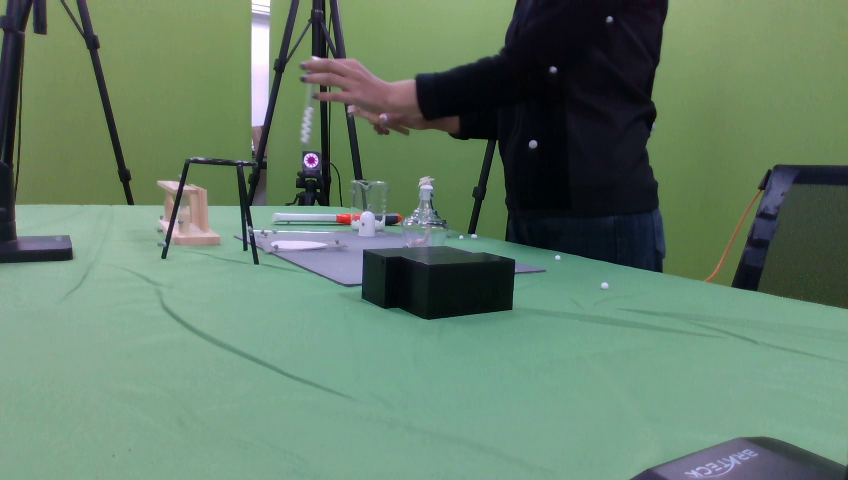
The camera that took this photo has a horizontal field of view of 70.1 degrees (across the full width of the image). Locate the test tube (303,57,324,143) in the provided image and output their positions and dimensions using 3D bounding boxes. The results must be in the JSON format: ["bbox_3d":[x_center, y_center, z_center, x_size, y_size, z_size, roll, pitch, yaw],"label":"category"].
[{"bbox_3d":[-0.195,-0.245,1.064,0.017,0.150,0.017,10,5,-1],"label":"test tube"}]

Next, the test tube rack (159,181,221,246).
[{"bbox_3d":[-0.395,-0.050,1.010,0.067,0.085,0.241,-2,8,-28],"label":"test tube rack"}]

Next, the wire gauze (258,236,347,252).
[{"bbox_3d":[-0.189,0.005,0.931,0.122,0.011,0.124,1,7,-21],"label":"wire gauze"}]

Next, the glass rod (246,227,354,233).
[{"bbox_3d":[-0.224,-0.017,1.109,0.201,0.008,0.008,1,7,-27],"label":"glass rod"}]

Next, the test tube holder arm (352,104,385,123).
[{"bbox_3d":[-0.107,-0.246,1.179,0.010,0.015,0.088,9,-1,36],"label":"test tube holder arm"}]

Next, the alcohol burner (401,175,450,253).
[{"bbox_3d":[0.003,-0.040,0.933,0.078,0.119,0.078,2,9,0],"label":"alcohol burner"}]

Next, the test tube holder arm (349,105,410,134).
[{"bbox_3d":[-0.086,-0.242,1.219,0.013,0.015,0.179,9,-1,35],"label":"test tube holder arm"}]

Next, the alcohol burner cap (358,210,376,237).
[{"bbox_3d":[-0.104,-0.030,1.098,0.034,0.048,0.034,3,7,0],"label":"alcohol burner cap"}]

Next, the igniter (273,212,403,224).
[{"bbox_3d":[-0.179,-0.048,1.290,0.278,0.025,0.057,-1,-2,-24],"label":"igniter"}]

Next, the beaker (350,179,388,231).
[{"bbox_3d":[-0.111,-0.069,1.204,0.074,0.100,0.084,2,8,0],"label":"beaker"}]

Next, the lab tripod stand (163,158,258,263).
[{"bbox_3d":[-0.264,-0.041,0.802,0.148,0.131,0.148,4,6,0],"label":"lab tripod stand"}]
